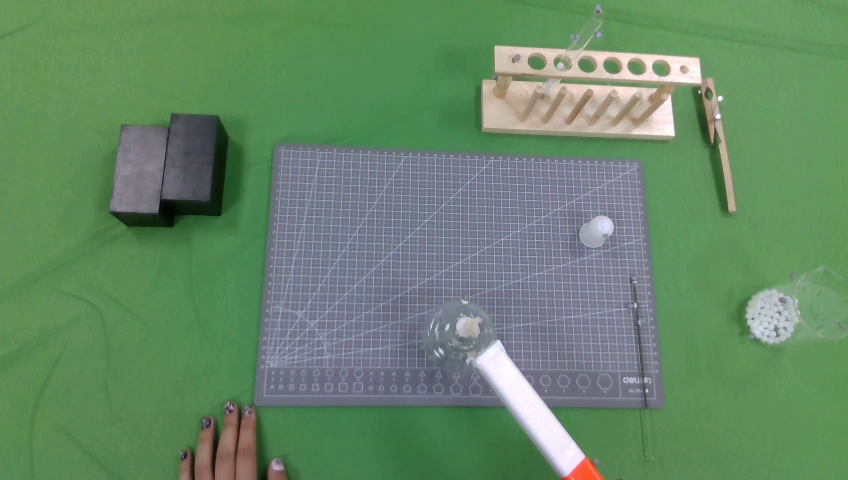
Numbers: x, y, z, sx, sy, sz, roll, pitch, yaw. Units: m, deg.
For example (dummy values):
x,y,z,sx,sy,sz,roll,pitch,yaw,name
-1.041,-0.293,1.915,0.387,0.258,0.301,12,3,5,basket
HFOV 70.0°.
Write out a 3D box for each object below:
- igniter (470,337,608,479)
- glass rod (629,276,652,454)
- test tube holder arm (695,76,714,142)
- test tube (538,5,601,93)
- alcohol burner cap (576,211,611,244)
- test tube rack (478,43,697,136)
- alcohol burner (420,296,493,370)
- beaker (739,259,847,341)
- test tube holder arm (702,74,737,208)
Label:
x,y,z,sx,sy,sz,roll,pitch,yaw,name
0.135,0.207,0.541,0.057,0.025,0.276,-35,86,-24,igniter
0.245,0.138,0.688,0.008,0.008,0.198,1,75,-6,glass rod
0.362,-0.169,0.779,0.010,0.015,0.087,-14,75,28,test tube holder arm
0.158,-0.209,0.682,0.017,0.150,0.017,4,72,-11,test tube
0.201,-0.017,0.707,0.034,0.048,0.033,1,75,-5,alcohol burner cap
0.192,-0.178,0.728,0.243,0.085,0.066,1,75,-5,test tube rack
0.036,0.092,0.624,0.078,0.119,0.077,2,73,-5,alcohol burner
0.413,0.071,0.679,0.074,0.100,0.083,15,73,-1,beaker
0.372,-0.126,0.766,0.013,0.015,0.177,-15,75,27,test tube holder arm
